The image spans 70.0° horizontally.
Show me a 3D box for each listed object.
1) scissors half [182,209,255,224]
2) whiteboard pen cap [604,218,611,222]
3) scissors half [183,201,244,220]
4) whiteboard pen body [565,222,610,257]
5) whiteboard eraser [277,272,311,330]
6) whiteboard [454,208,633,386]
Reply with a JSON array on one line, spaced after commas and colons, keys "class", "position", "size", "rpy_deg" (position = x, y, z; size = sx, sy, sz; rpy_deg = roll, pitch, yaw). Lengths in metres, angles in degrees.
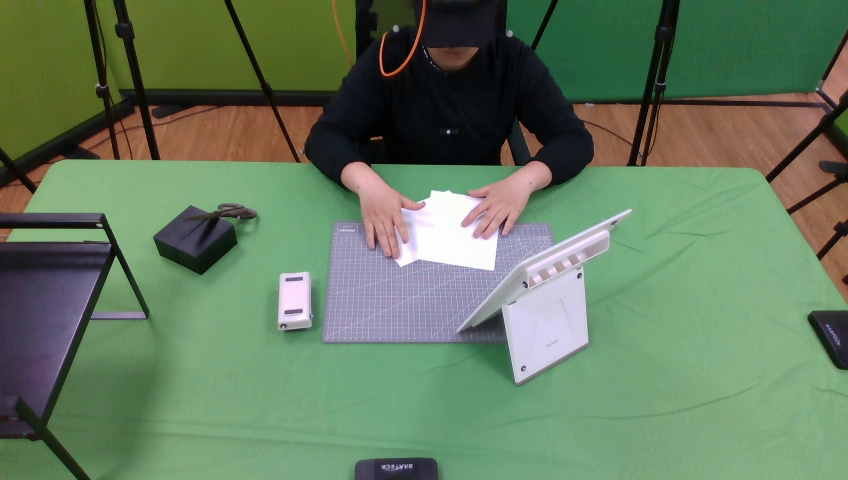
[{"class": "scissors half", "position": [-0.389, -0.043, 1.158], "size": [0.040, 0.013, 0.175], "rpy_deg": [39, 21, 23]}, {"class": "whiteboard pen cap", "position": [0.378, -0.031, 1.255], "size": [0.033, 0.018, 0.018], "rpy_deg": [-33, 57, -29]}, {"class": "scissors half", "position": [-0.405, -0.054, 1.163], "size": [0.040, 0.013, 0.175], "rpy_deg": [27, 18, 8]}, {"class": "whiteboard pen body", "position": [0.335, -0.004, 1.228], "size": [0.141, 0.017, 0.017], "rpy_deg": [-32, 56, -29]}, {"class": "whiteboard eraser", "position": [-0.228, 0.108, 1.062], "size": [0.056, 0.042, 0.112], "rpy_deg": [-3, 46, -10]}, {"class": "whiteboard", "position": [0.211, 0.111, 0.954], "size": [0.217, 0.306, 0.143], "rpy_deg": [-22, 72, -24]}]
